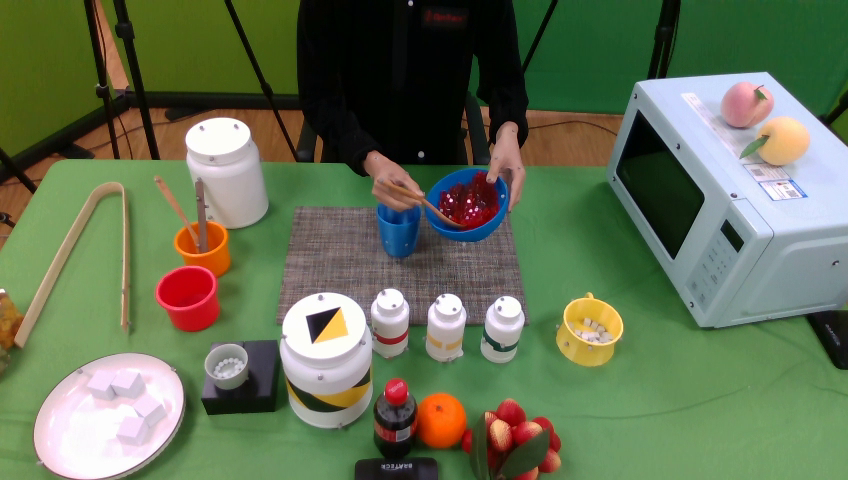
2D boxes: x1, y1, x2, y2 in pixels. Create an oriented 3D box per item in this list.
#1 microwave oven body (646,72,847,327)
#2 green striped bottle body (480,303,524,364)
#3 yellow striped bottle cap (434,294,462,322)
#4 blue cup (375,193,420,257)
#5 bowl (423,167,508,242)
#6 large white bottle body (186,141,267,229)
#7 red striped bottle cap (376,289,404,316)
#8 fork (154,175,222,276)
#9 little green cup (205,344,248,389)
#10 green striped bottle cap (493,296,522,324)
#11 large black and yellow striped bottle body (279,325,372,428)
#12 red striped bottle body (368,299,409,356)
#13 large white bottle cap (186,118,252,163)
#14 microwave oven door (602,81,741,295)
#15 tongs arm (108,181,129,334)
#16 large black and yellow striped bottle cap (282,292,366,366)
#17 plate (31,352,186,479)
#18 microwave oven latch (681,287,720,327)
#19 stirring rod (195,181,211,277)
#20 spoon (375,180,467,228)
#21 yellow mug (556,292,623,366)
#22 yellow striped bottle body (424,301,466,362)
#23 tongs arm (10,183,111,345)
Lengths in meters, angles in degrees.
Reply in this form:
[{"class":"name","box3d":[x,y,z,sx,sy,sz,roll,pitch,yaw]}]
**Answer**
[{"class":"microwave oven body","box3d":[0.607,-0.089,1.164,0.326,0.261,0.438,-7,46,-10]},{"class":"green striped bottle body","box3d":[0.129,0.147,1.000,0.063,0.120,0.063,2,46,-2]},{"class":"yellow striped bottle cap","box3d":[0.038,0.107,0.958,0.044,0.019,0.044,2,45,-2]},{"class":"blue cup","box3d":[-0.051,-0.023,1.157,0.093,0.101,0.092,2,47,-2]},{"class":"bowl","box3d":[0.081,-0.049,1.077,0.151,0.077,0.150,-11,50,13]},{"class":"large white bottle body","box3d":[-0.382,-0.127,1.175,0.131,0.185,0.130,2,47,-2]},{"class":"red striped bottle cap","box3d":[-0.055,0.098,0.958,0.044,0.018,0.044,0,48,1]},{"class":"fork","box3d":[-0.431,-0.026,1.101,0.028,0.018,0.207,-33,100,-25]},{"class":"little green cup","box3d":[-0.293,0.191,0.909,0.061,0.039,0.061,1,47,-1]},{"class":"green striped bottle cap","box3d":[0.133,0.111,0.962,0.044,0.020,0.044,1,47,-1]},{"class":"large black and yellow striped bottle body","box3d":[-0.143,0.181,0.900,0.131,0.185,0.130,2,46,-2]},{"class":"red striped bottle body","box3d":[-0.059,0.135,0.998,0.063,0.120,0.062,5,49,-6]},{"class":"large white bottle cap","box3d":[-0.377,-0.185,1.114,0.115,0.018,0.114,2,47,-2]},{"class":"microwave oven door","box3d":[0.456,-0.107,1.162,0.039,0.245,0.353,-7,47,-11]},{"class":"tongs arm","box3d":[-0.571,0.019,1.123,0.051,0.026,0.382,-10,47,-12]},{"class":"large black and yellow striped bottle cap","box3d":[-0.138,0.121,0.841,0.115,0.019,0.114,3,47,-3]},{"class":"plate","box3d":[-0.459,0.262,0.898,0.209,0.038,0.208,2,46,-2]},{"class":"microwave oven latch","box3d":[0.494,0.119,1.087,0.030,0.029,0.078,-6,46,-9]},{"class":"stirring rod","box3d":[-0.403,-0.020,1.104,0.014,0.006,0.176,-6,89,-9]},{"class":"spoon","box3d":[-0.003,-0.062,1.038,0.195,0.021,0.041,29,7,-30]},{"class":"yellow mug","box3d":[0.285,0.146,1.051,0.100,0.064,0.130,7,45,4]},{"class":"yellow striped bottle body","box3d":[0.035,0.143,0.995,0.063,0.121,0.062,3,46,-3]},{"class":"tongs arm","box3d":[-0.658,0.027,1.109,0.028,0.028,0.385,-2,45,2]}]
